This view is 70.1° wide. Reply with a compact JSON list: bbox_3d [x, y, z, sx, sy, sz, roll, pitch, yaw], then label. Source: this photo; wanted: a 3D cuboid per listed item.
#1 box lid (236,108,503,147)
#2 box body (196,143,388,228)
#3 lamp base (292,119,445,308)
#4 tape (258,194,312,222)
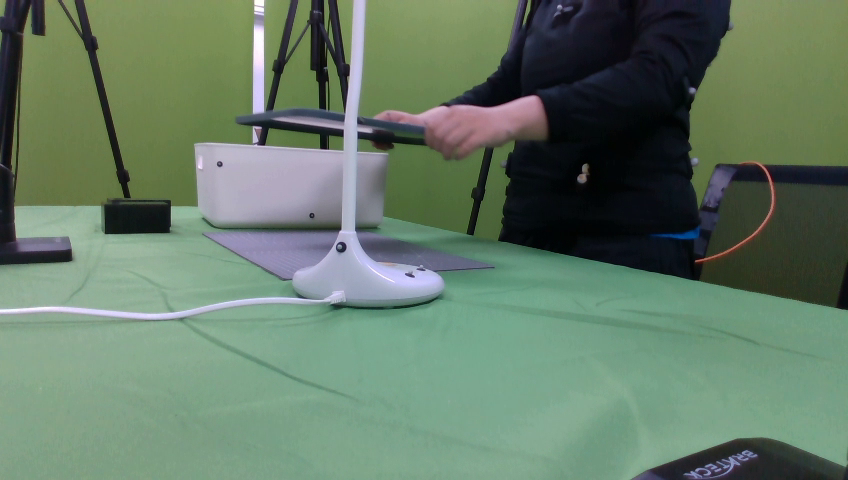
[{"bbox_3d":[-0.085,-0.172,0.963,0.374,0.015,0.262,0,6,-37],"label":"box lid"},{"bbox_3d":[-0.286,-0.118,1.291,0.366,0.160,0.253,-1,8,-27],"label":"box body"},{"bbox_3d":[-0.056,-0.030,0.616,0.160,0.180,0.179,3,10,8],"label":"lamp base"},{"bbox_3d":[-0.299,-0.070,1.297,0.117,0.052,0.117,3,7,0],"label":"tape"}]
